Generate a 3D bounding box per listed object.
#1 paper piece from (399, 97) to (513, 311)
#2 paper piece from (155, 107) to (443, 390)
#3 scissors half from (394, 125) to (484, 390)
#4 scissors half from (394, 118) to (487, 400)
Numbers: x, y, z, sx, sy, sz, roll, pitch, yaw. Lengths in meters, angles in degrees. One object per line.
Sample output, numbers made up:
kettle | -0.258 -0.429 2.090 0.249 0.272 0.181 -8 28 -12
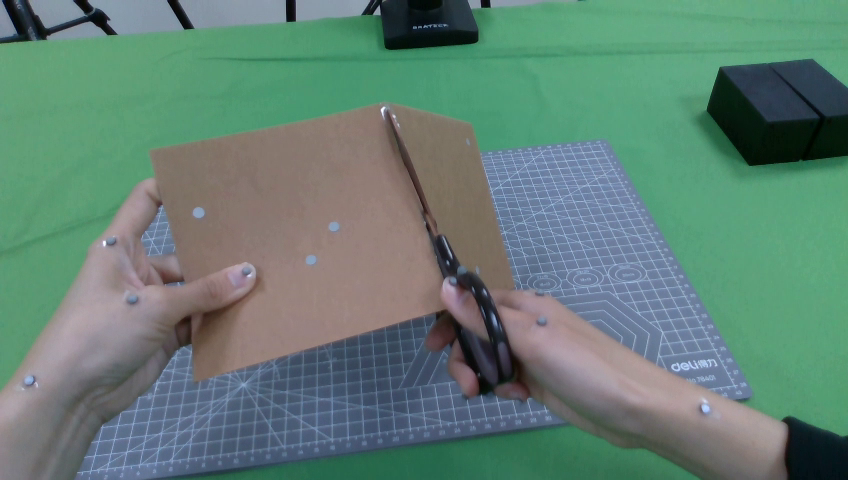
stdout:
paper piece | 0.026 -0.023 0.417 0.008 0.136 0.138 -10 0 25
paper piece | -0.067 -0.002 0.334 0.136 0.004 0.134 -14 76 -12
scissors half | 0.003 -0.002 0.334 0.013 0.040 0.173 -18 56 2
scissors half | 0.006 0.007 0.353 0.013 0.040 0.174 -15 78 -3
